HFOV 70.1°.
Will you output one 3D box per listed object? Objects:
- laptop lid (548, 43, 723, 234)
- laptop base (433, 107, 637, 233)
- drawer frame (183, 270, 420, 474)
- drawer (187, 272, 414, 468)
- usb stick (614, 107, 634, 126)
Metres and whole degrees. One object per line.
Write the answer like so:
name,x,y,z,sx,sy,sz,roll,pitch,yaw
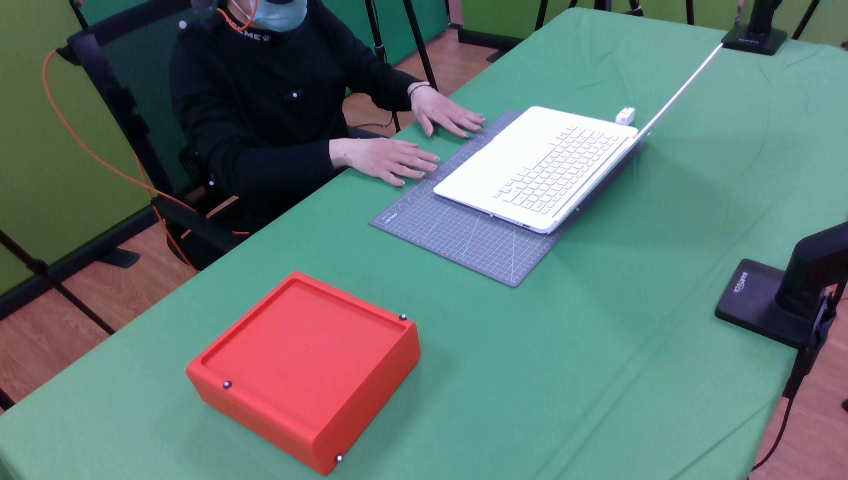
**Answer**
laptop lid,0.335,-0.160,0.955,0.013,0.241,0.358,42,54,8
laptop base,0.210,-0.142,1.111,0.233,0.023,0.355,21,48,33
drawer frame,-0.149,0.153,0.767,0.212,0.083,0.202,20,46,27
drawer,-0.150,0.154,0.768,0.210,0.073,0.195,20,46,28
usb stick,0.385,-0.234,1.174,0.021,0.027,0.059,22,47,30
